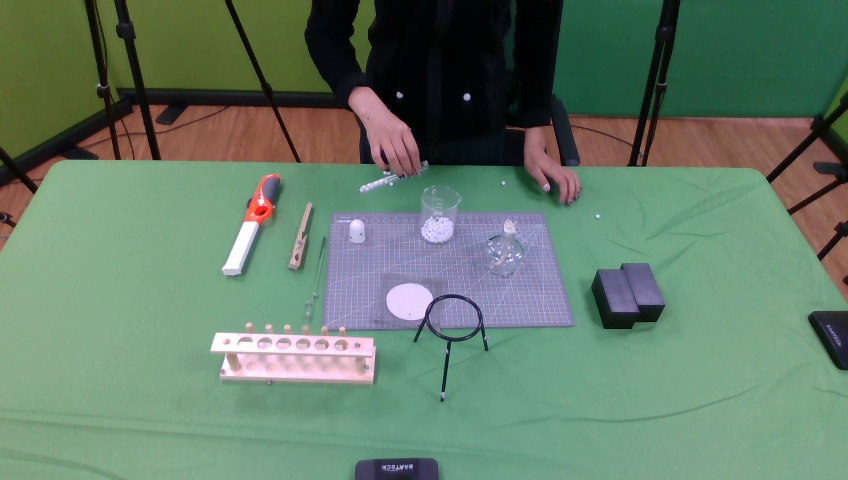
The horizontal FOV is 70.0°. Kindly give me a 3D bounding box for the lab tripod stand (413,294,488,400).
[{"bbox_3d":[0.044,0.159,0.972,0.148,0.132,0.147,2,44,-2],"label":"lab tripod stand"}]

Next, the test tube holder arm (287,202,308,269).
[{"bbox_3d":[-0.247,-0.013,1.193,0.013,0.015,0.177,30,39,-27],"label":"test tube holder arm"}]

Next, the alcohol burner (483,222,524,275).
[{"bbox_3d":[0.152,0.009,1.135,0.078,0.119,0.077,4,47,-4],"label":"alcohol burner"}]

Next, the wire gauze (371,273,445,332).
[{"bbox_3d":[-0.028,0.108,1.100,0.125,0.011,0.121,8,45,4],"label":"wire gauze"}]

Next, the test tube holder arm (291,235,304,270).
[{"bbox_3d":[-0.243,0.021,1.164,0.010,0.015,0.087,30,38,-26],"label":"test tube holder arm"}]

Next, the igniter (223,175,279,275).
[{"bbox_3d":[-0.341,-0.039,1.207,0.057,0.025,0.275,-1,45,9],"label":"igniter"}]

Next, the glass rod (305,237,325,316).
[{"bbox_3d":[-0.202,0.063,1.131,0.008,0.008,0.198,3,44,0],"label":"glass rod"}]

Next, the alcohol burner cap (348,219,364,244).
[{"bbox_3d":[-0.134,-0.019,1.190,0.034,0.048,0.033,2,46,-2],"label":"alcohol burner cap"}]

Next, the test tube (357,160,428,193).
[{"bbox_3d":[-0.061,-0.117,1.131,0.150,0.017,0.017,-18,41,22],"label":"test tube"}]

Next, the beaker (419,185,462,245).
[{"bbox_3d":[0.029,-0.047,1.191,0.084,0.101,0.073,-5,47,-10],"label":"beaker"}]

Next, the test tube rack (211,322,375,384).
[{"bbox_3d":[-0.203,0.176,0.969,0.242,0.085,0.066,3,46,-2],"label":"test tube rack"}]
